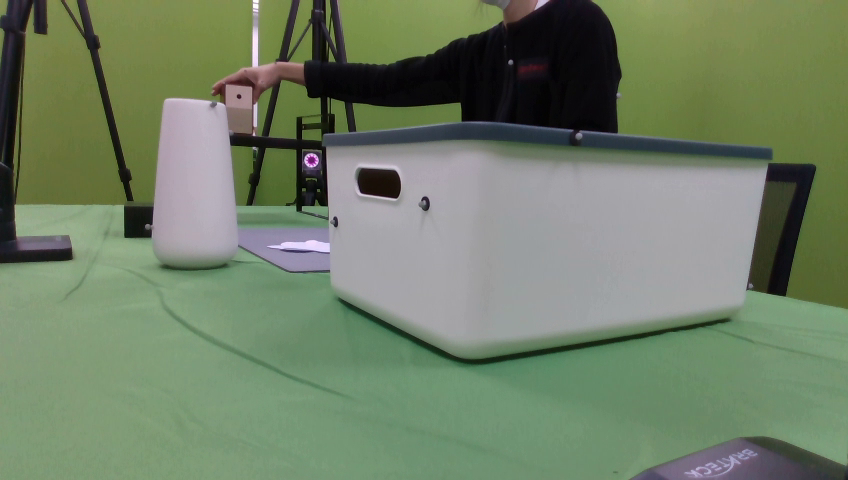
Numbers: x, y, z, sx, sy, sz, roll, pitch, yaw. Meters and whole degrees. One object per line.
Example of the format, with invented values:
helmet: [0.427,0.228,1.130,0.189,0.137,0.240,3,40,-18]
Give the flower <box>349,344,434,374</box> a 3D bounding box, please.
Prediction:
flower: [0.103,0.072,0.592,0.362,0.044,0.038,-17,44,-9]

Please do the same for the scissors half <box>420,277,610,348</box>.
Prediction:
scissors half: [0.076,0.067,0.533,0.174,0.040,0.013,14,50,24]

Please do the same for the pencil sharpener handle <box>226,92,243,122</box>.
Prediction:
pencil sharpener handle: [-0.431,-0.301,1.375,0.036,0.068,0.030,-13,13,-25]

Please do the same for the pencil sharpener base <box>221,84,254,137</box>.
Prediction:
pencil sharpener base: [-0.411,-0.282,1.330,0.061,0.107,0.076,-1,8,-26]

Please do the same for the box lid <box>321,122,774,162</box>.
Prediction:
box lid: [0.114,-0.085,0.573,0.373,0.015,0.262,-2,7,-33]

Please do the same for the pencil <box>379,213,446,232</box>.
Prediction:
pencil: [-0.026,-0.033,1.068,0.012,0.012,0.193,-4,12,-39]

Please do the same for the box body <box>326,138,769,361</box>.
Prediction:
box body: [0.112,-0.010,0.583,0.366,0.160,0.253,-2,9,-33]

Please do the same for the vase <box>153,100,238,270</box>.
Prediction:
vase: [-0.278,-0.066,0.736,0.098,0.200,0.098,2,9,0]

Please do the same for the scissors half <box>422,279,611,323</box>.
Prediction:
scissors half: [0.073,0.057,0.524,0.174,0.040,0.013,5,39,30]
